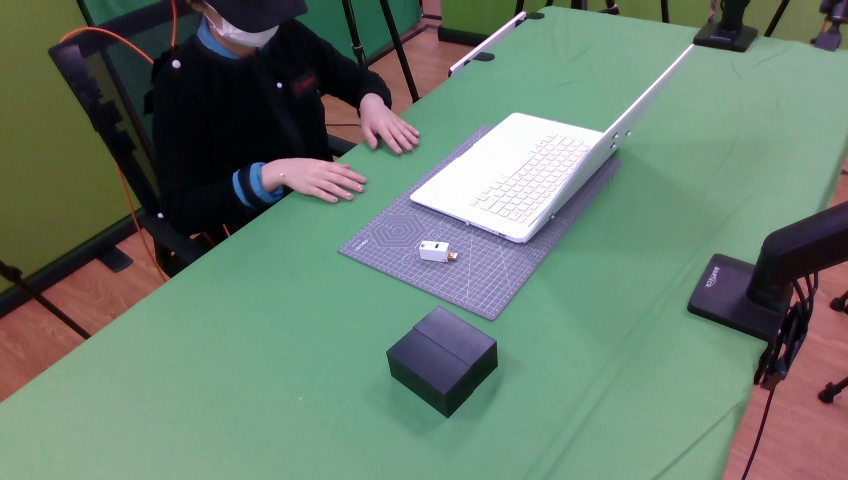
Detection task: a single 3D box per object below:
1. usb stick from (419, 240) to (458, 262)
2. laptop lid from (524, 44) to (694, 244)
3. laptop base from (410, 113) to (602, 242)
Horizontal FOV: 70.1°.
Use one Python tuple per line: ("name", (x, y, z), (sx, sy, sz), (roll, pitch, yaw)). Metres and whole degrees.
("usb stick", (0.023, 0.018, 0.936), (0.059, 0.027, 0.021), (9, 42, 15))
("laptop lid", (0.290, -0.151, 0.941), (0.013, 0.241, 0.358), (40, 54, 12))
("laptop base", (0.171, -0.127, 1.096), (0.233, 0.023, 0.355), (21, 47, 34))
